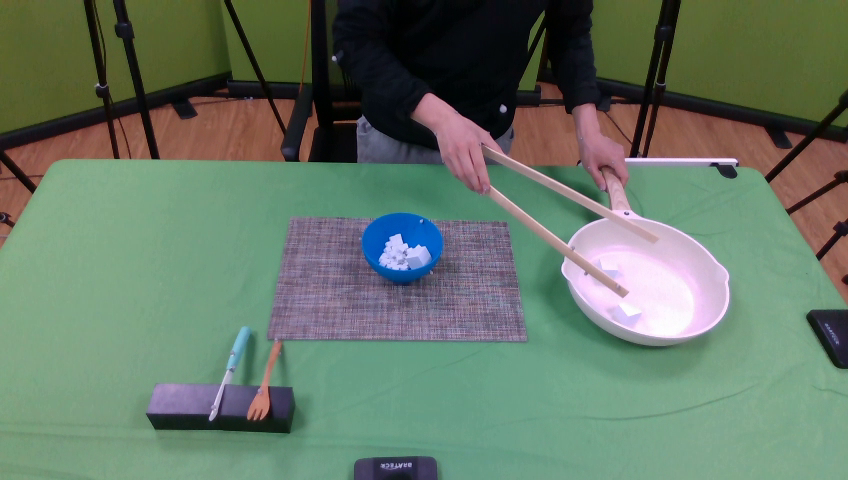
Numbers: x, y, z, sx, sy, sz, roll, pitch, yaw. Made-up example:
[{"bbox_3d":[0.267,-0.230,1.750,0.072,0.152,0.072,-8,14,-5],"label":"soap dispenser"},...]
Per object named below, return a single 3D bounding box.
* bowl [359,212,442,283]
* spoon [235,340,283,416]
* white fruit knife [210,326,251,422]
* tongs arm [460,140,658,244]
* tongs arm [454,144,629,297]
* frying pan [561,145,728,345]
[{"bbox_3d":[-0.044,0.026,1.125,0.151,0.077,0.150,2,46,-2],"label":"bowl"},{"bbox_3d":[-0.245,0.207,0.932,0.042,0.022,0.193,30,24,-9],"label":"spoon"},{"bbox_3d":[-0.300,0.201,0.942,0.016,0.027,0.206,-3,32,1],"label":"white fruit knife"},{"bbox_3d":[0.241,-0.087,1.089,0.387,0.028,0.028,28,66,5],"label":"tongs arm"},{"bbox_3d":[0.200,-0.038,1.055,0.384,0.026,0.050,37,63,10],"label":"tongs arm"},{"bbox_3d":[0.397,-0.008,1.179,0.307,0.103,0.485,2,54,-4],"label":"frying pan"}]
